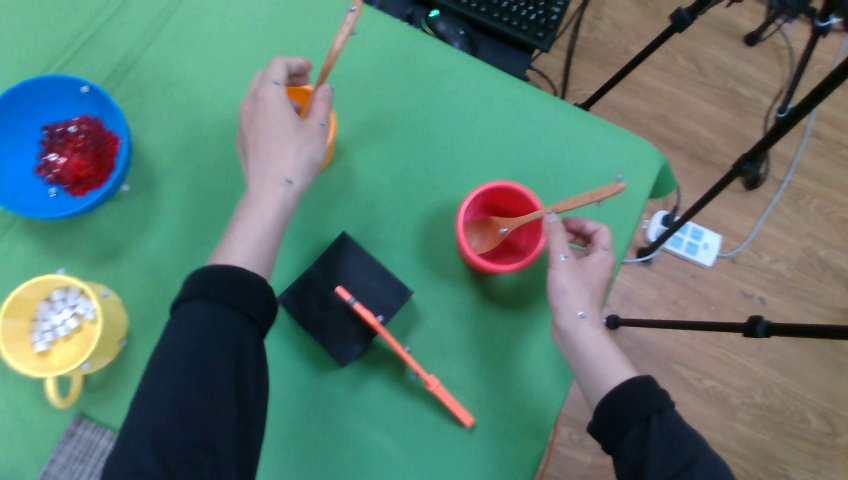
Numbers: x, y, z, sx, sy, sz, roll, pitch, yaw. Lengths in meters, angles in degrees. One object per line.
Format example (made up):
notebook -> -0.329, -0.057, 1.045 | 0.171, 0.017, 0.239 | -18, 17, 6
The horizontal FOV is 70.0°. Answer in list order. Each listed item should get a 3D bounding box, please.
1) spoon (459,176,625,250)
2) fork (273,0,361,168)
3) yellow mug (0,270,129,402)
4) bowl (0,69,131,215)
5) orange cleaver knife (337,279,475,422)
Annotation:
spoon -> 0.118, -0.029, 0.637 | 0.193, 0.022, 0.041 | -20, 77, 38
fork -> -0.114, -0.160, 0.635 | 0.028, 0.018, 0.208 | 36, 123, 4
yellow mug -> -0.363, 0.098, 0.616 | 0.100, 0.064, 0.130 | -5, 82, -6
bowl -> -0.376, -0.093, 0.639 | 0.151, 0.077, 0.151 | 1, 81, -4
orange cleaver knife -> -0.017, 0.117, 0.629 | 0.012, 0.076, 0.213 | -44, 118, -9
